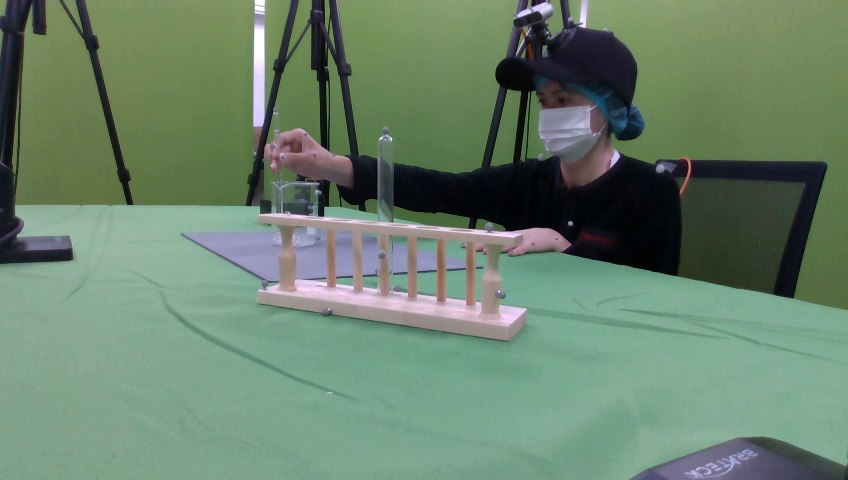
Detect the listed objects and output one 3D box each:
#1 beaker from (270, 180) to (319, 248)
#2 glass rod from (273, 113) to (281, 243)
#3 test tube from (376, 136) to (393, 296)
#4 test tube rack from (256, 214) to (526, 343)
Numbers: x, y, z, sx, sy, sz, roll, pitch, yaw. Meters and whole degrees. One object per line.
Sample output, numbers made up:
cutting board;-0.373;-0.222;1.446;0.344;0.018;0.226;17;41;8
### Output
beaker;-0.203;-0.040;0.935;0.074;0.100;0.084;5;8;18
glass rod;-0.225;-0.094;0.930;0.008;0.199;0.008;1;10;0
test tube;-0.037;-0.021;0.565;0.017;0.150;0.017;1;6;0
test tube rack;-0.032;0.027;0.547;0.241;0.085;0.067;6;7;22
